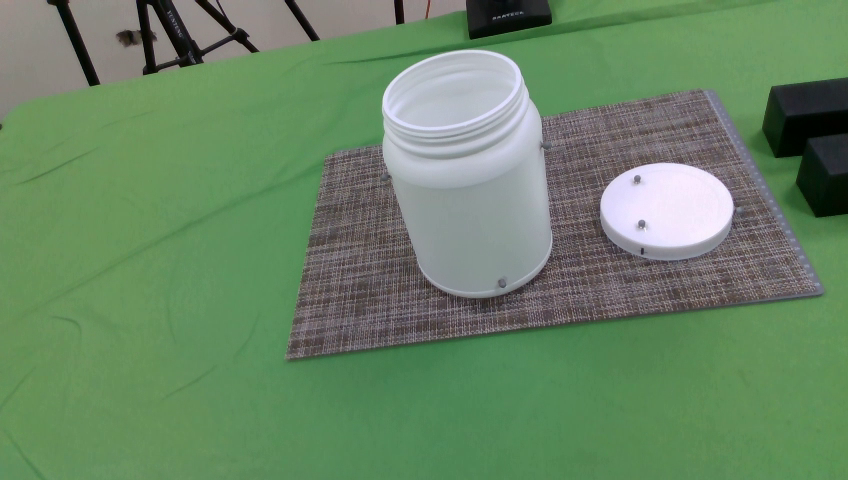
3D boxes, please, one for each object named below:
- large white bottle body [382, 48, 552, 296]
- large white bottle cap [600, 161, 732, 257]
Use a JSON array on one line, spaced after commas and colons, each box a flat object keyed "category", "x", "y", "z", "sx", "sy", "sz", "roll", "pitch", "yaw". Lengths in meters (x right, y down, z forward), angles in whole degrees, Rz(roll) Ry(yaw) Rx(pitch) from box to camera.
[{"category": "large white bottle body", "x": 0.039, "y": -0.055, "z": 0.521, "sx": 0.130, "sy": 0.186, "sz": 0.129, "roll": -8, "pitch": 45, "yaw": 9}, {"category": "large white bottle cap", "x": 0.223, "y": -0.031, "z": 0.564, "sx": 0.114, "sy": 0.018, "sz": 0.113, "roll": -8, "pitch": 45, "yaw": 9}]
